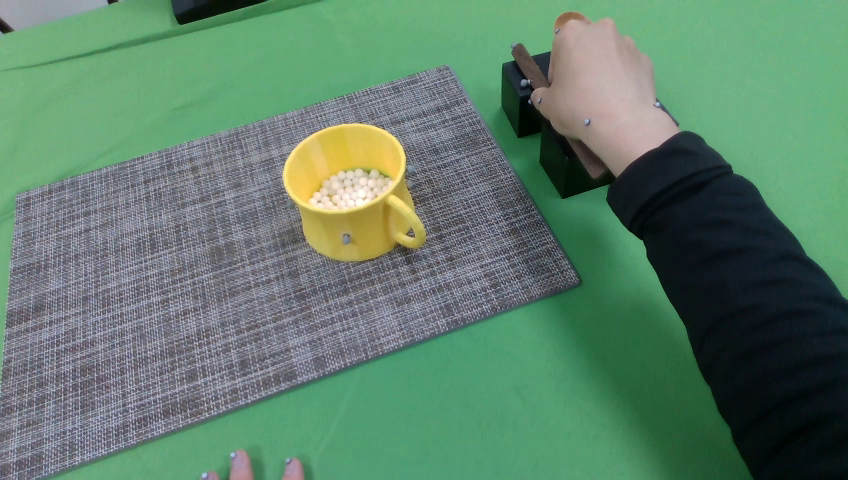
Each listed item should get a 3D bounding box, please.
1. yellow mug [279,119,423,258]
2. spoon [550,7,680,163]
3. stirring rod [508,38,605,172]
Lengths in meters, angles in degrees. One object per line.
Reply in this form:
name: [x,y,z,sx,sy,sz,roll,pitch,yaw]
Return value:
yellow mug: [-0.051,-0.036,0.502,0.130,0.064,0.100,32,63,24]
spoon: [0.163,-0.138,0.523,0.041,0.022,0.191,-19,57,-8]
stirring rod: [0.109,-0.121,0.518,0.014,0.006,0.174,-42,49,26]
